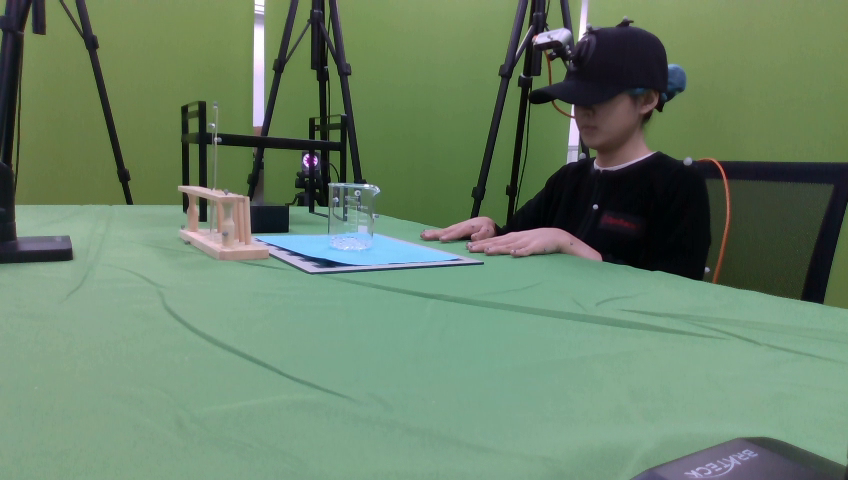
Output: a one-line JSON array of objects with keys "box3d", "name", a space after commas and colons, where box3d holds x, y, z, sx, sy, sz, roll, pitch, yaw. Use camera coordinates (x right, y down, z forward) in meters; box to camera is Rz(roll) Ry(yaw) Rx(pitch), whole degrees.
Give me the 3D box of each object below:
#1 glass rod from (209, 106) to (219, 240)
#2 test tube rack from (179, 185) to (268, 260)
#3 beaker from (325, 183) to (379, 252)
[{"box3d": [-0.305, -0.096, 0.878, 0.008, 0.199, 0.008, 2, 0, 0], "name": "glass rod"}, {"box3d": [-0.303, -0.031, 0.898, 0.067, 0.085, 0.241, -2, 9, -33], "name": "test tube rack"}, {"box3d": [-0.109, -0.035, 0.921, 0.084, 0.100, 0.074, 5, 8, 15], "name": "beaker"}]
